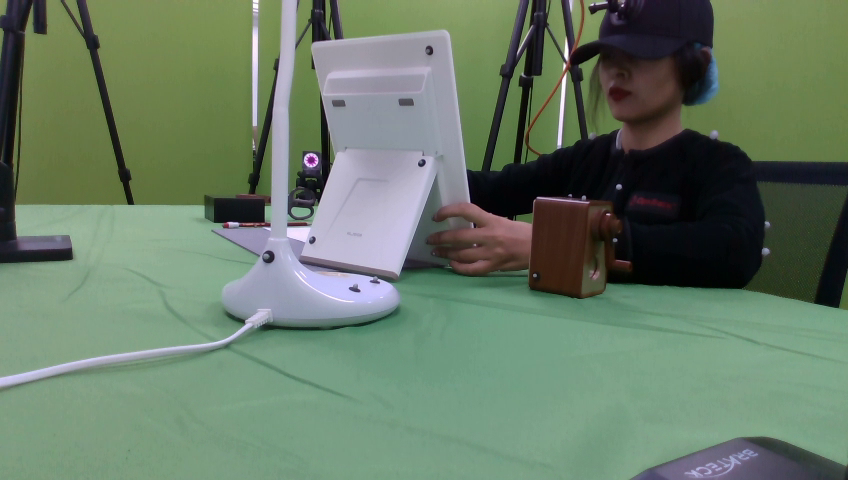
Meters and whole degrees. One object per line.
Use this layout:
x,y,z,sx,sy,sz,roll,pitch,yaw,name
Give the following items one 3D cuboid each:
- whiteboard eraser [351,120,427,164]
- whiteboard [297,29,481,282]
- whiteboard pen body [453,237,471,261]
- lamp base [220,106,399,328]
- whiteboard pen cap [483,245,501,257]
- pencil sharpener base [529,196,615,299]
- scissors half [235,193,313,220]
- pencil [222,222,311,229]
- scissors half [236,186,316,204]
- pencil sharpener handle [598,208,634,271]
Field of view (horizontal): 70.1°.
-0.050,-0.132,0.813,0.112,0.055,0.042,9,29,39,whiteboard eraser
-0.076,-0.082,0.742,0.216,0.305,0.144,8,29,35,whiteboard
0.058,0.015,0.912,0.017,0.017,0.140,2,10,-3,whiteboard pen body
-0.101,-0.023,0.531,0.160,0.180,0.179,4,10,10,lamp base
0.104,0.017,0.936,0.018,0.018,0.033,-1,4,-22,whiteboard pen cap
0.168,0.007,0.677,0.076,0.107,0.062,10,10,42,pencil sharpener base
-0.324,-0.077,1.319,0.176,0.040,0.012,17,6,-31,scissors half
-0.302,-0.030,1.189,0.195,0.012,0.012,-2,9,-42,pencil
-0.320,-0.097,1.316,0.176,0.040,0.013,-3,11,-29,scissors half
0.208,0.000,0.644,0.030,0.068,0.036,10,23,42,pencil sharpener handle
